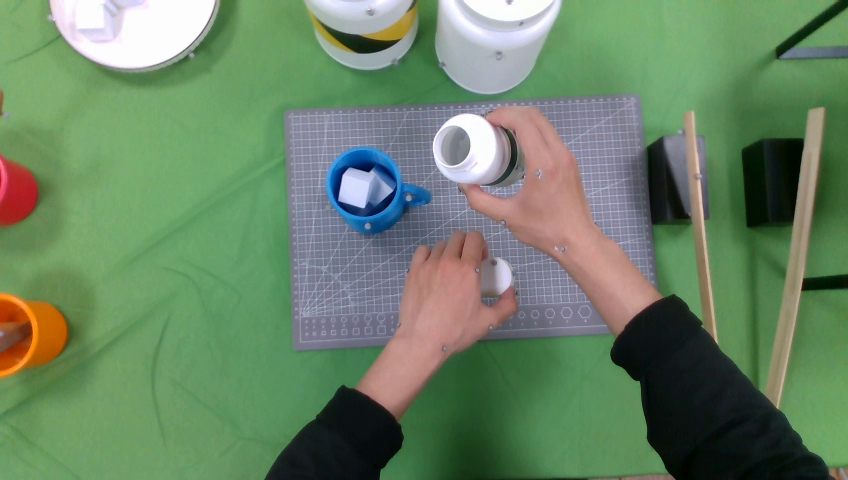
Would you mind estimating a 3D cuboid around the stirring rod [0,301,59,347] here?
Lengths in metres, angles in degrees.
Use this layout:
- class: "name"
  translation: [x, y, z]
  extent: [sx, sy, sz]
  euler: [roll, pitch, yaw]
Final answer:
- class: "stirring rod"
  translation: [-0.478, 0.120, 0.656]
  extent: [0.014, 0.006, 0.175]
  euler: [44, 43, 0]

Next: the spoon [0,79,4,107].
- class: "spoon"
  translation: [-0.483, -0.100, 0.673]
  extent: [0.041, 0.021, 0.194]
  euler: [43, 129, 6]

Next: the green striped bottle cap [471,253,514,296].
- class: "green striped bottle cap"
  translation: [0.073, 0.036, 0.647]
  extent: [0.044, 0.020, 0.044]
  euler: [-6, 68, 16]

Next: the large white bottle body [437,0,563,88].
- class: "large white bottle body"
  translation: [0.083, -0.264, 0.682]
  extent: [0.131, 0.185, 0.130]
  euler: [0, 84, -1]

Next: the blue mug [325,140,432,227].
- class: "blue mug"
  translation: [-0.048, -0.061, 0.698]
  extent: [0.116, 0.106, 0.082]
  euler: [5, 84, -1]

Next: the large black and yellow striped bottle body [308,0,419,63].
- class: "large black and yellow striped bottle body"
  translation: [-0.070, -0.294, 0.681]
  extent: [0.131, 0.184, 0.130]
  euler: [0, 84, -1]

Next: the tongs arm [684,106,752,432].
- class: "tongs arm"
  translation: [0.342, 0.038, 0.703]
  extent: [0.051, 0.026, 0.385]
  euler: [-7, 97, -5]

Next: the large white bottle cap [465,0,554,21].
- class: "large white bottle cap"
  translation: [0.084, -0.274, 0.599]
  extent: [0.115, 0.018, 0.114]
  euler: [0, 84, -2]

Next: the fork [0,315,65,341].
- class: "fork"
  translation: [-0.503, 0.083, 0.653]
  extent: [0.209, 0.018, 0.028]
  euler: [21, 80, -43]

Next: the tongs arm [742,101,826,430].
- class: "tongs arm"
  translation: [0.423, 0.034, 0.707]
  extent: [0.028, 0.027, 0.388]
  euler: [6, 96, -9]

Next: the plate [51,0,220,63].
- class: "plate"
  translation: [-0.350, -0.317, 0.749]
  extent: [0.208, 0.039, 0.207]
  euler: [0, 85, -1]

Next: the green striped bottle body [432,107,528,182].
- class: "green striped bottle body"
  translation: [0.051, -0.089, 0.573]
  extent: [0.063, 0.120, 0.063]
  euler: [2, 93, 27]
